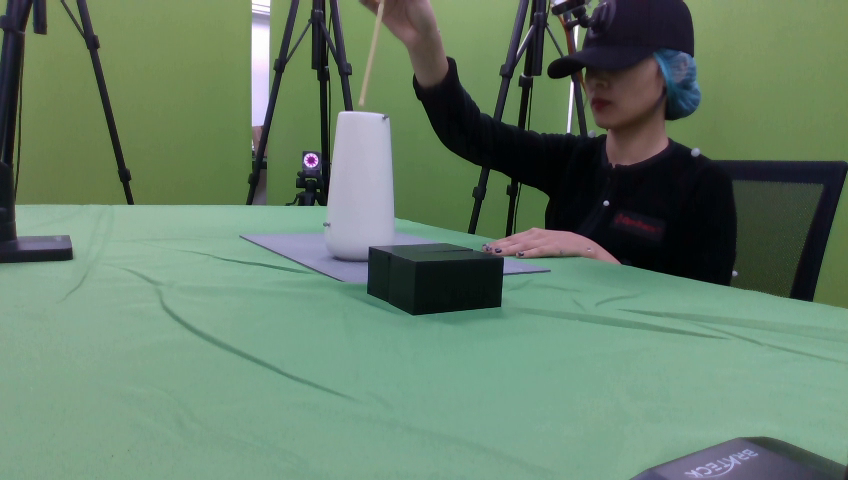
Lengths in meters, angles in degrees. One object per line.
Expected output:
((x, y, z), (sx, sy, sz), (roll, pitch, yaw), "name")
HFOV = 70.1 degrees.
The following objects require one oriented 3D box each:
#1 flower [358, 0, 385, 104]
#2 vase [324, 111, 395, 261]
((-0.051, -0.357, 0.833), (0.044, 0.361, 0.038), (7, -10, 27), "flower")
((-0.087, -0.074, 0.829), (0.098, 0.200, 0.098), (2, 9, 0), "vase")
